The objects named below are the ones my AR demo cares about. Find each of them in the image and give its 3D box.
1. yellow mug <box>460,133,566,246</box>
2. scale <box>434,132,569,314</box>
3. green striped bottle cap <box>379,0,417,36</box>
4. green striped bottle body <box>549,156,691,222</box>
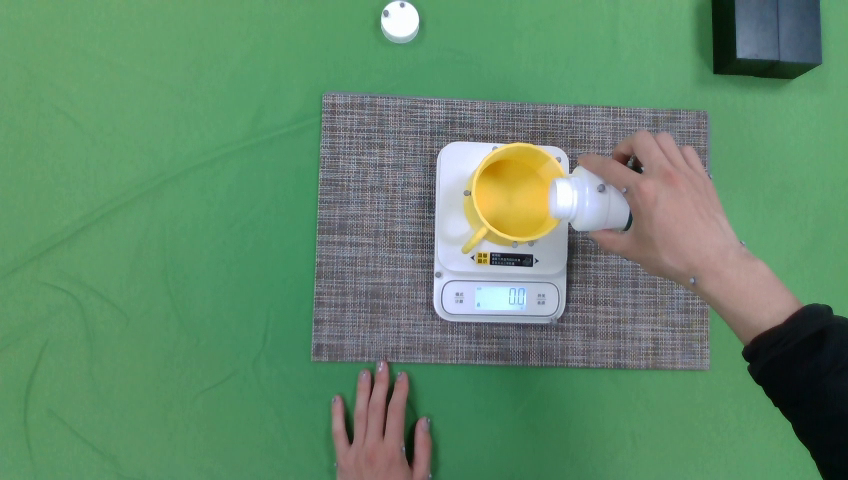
[{"bbox_3d":[0.083,-0.043,0.628,0.100,0.064,0.131,42,85,0],"label":"yellow mug"},{"bbox_3d":[0.086,-0.018,0.674,0.149,0.031,0.200,1,87,-3],"label":"scale"},{"bbox_3d":[-0.030,-0.259,0.695,0.044,0.020,0.044,0,89,-3],"label":"green striped bottle cap"},{"bbox_3d":[0.180,-0.048,0.570,0.119,0.063,0.063,0,86,-2],"label":"green striped bottle body"}]
